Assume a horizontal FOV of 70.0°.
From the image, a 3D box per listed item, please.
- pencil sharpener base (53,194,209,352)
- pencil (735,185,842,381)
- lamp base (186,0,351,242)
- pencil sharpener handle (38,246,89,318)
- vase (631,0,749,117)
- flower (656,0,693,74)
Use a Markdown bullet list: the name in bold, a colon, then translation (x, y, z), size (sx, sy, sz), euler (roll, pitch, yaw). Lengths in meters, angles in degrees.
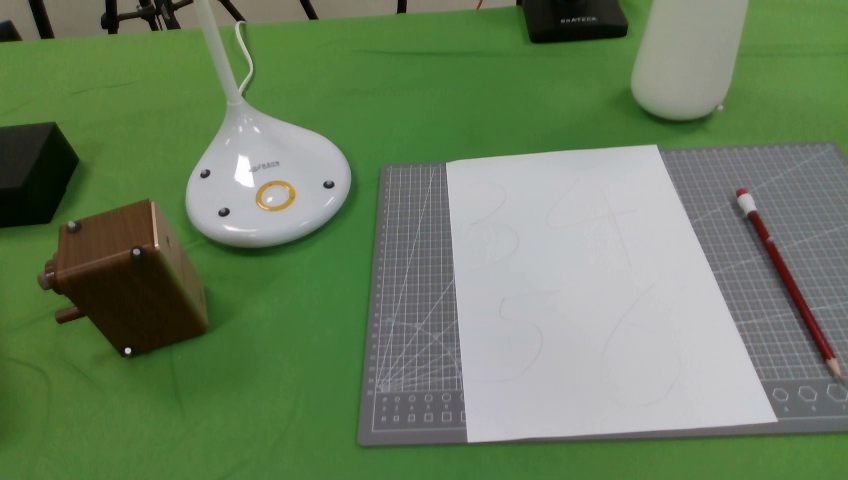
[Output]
- **pencil sharpener base**: translation (-0.223, 0.029, 0.470), size (0.077, 0.108, 0.060), euler (-18, 50, -10)
- **pencil**: translation (0.290, 0.026, 0.487), size (0.012, 0.012, 0.192), euler (-5, 50, 2)
- **lamp base**: translation (-0.164, -0.118, 0.546), size (0.161, 0.182, 0.177), euler (-26, 49, -17)
- **pencil sharpener handle**: translation (-0.273, 0.036, 0.452), size (0.031, 0.068, 0.035), euler (-18, 54, -10)
- **vase**: translation (0.262, -0.220, 0.584), size (0.098, 0.202, 0.097), euler (-3, 47, 4)
- **flower**: translation (0.249, -0.258, 0.509), size (0.044, 0.364, 0.038), euler (40, 76, 18)
